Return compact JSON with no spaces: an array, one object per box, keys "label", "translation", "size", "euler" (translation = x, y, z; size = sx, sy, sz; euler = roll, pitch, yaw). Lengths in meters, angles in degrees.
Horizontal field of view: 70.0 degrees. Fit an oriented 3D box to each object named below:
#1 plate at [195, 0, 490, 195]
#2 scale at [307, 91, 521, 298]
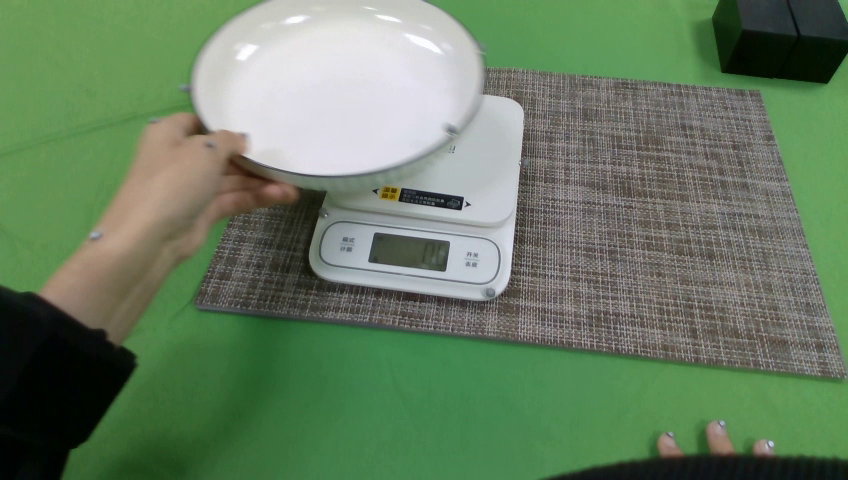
[{"label":"plate","translation":[-0.056,-0.110,0.444],"size":[0.208,0.039,0.205],"euler":[0,55,0]},{"label":"scale","translation":[-0.001,-0.050,0.482],"size":[0.148,0.032,0.199],"euler":[7,54,5]}]
